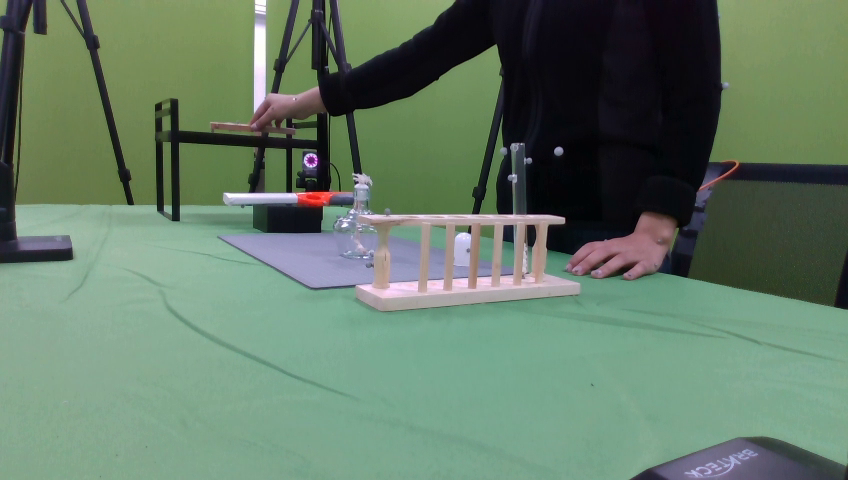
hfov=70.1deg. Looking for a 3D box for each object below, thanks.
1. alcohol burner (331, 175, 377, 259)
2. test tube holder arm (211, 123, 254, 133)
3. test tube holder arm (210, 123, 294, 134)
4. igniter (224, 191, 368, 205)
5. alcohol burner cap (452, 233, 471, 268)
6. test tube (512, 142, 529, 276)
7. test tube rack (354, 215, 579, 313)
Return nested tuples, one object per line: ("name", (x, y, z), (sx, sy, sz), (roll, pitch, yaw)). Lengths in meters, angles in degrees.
("alcohol burner", (-0.091, -0.033, 0.855), (0.078, 0.119, 0.078), (4, 7, 0))
("test tube holder arm", (-0.413, -0.241, 1.302), (0.088, 0.015, 0.010), (-1, 29, -25))
("test tube holder arm", (-0.374, -0.244, 1.327), (0.179, 0.015, 0.013), (-2, 29, -27))
("igniter", (-0.237, -0.079, 1.157), (0.278, 0.025, 0.057), (-2, 20, -31))
("alcohol burner cap", (0.053, 0.014, 0.823), (0.034, 0.048, 0.034), (3, 6, 0))
("test tube", (0.108, -0.034, 0.678), (0.017, 0.150, 0.017), (-3, 7, 1))
("test tube rack", (0.053, 0.019, 0.635), (0.243, 0.085, 0.066), (-1, 8, -29))
